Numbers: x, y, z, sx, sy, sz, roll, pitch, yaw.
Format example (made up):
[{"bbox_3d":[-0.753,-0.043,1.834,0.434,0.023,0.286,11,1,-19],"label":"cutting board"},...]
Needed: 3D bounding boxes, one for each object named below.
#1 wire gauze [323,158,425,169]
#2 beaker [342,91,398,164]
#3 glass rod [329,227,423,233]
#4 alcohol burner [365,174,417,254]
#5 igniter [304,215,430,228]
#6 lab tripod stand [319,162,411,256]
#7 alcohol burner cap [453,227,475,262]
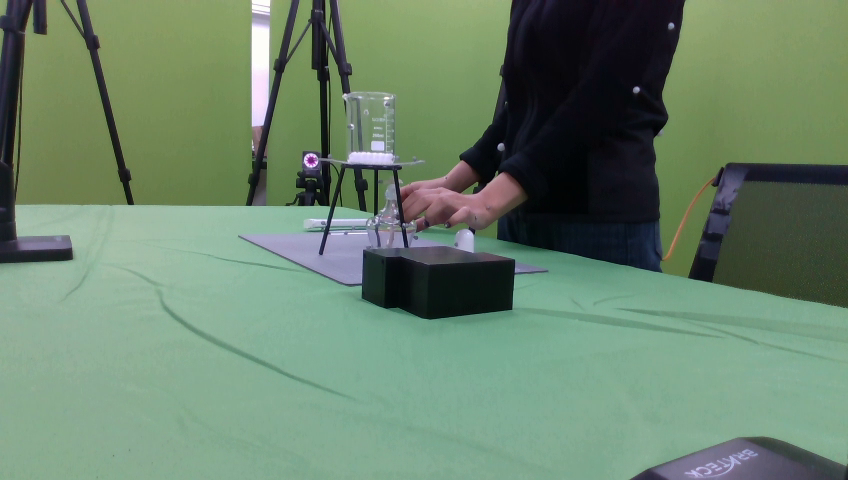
[{"bbox_3d":[-0.080,-0.112,0.869,0.122,0.011,0.124,-6,12,-35],"label":"wire gauze"},{"bbox_3d":[-0.079,-0.160,0.867,0.084,0.100,0.073,-5,10,-34],"label":"beaker"},{"bbox_3d":[-0.087,-0.019,1.148,0.201,0.008,0.008,-3,8,-32],"label":"glass rod"},{"bbox_3d":[-0.049,-0.039,0.903,0.078,0.119,0.078,2,10,0],"label":"alcohol burner"},{"bbox_3d":[-0.108,-0.037,1.227,0.278,0.025,0.057,-2,1,-35],"label":"igniter"},{"bbox_3d":[-0.081,-0.047,0.879,0.148,0.131,0.148,2,9,0],"label":"lab tripod stand"},{"bbox_3d":[0.058,0.005,0.872,0.034,0.048,0.034,3,8,0],"label":"alcohol burner cap"}]
